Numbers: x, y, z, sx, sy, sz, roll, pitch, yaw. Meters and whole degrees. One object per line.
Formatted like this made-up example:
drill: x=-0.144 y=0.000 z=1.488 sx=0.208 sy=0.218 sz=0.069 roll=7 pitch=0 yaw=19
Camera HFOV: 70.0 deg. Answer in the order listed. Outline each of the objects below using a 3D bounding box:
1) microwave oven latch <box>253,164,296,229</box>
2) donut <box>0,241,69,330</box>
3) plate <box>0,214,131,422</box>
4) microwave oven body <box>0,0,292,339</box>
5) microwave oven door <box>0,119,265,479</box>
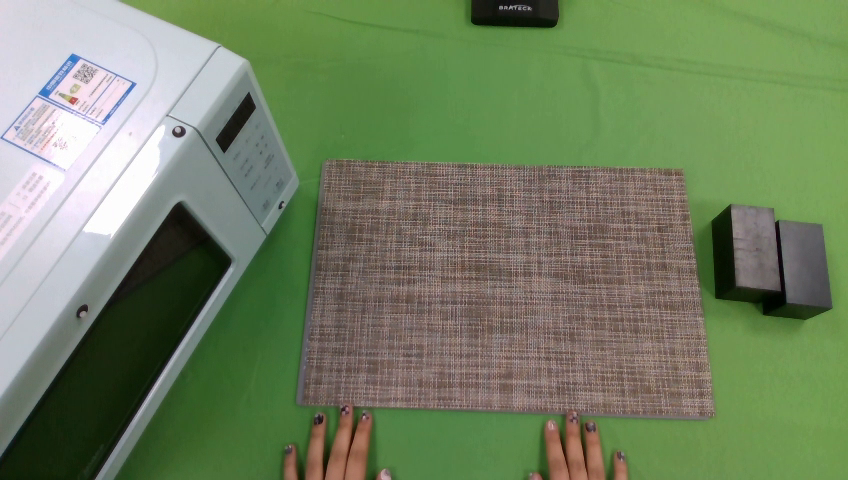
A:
microwave oven latch: x=-0.179 y=-0.055 z=0.708 sx=0.030 sy=0.029 sz=0.079 roll=25 pitch=72 yaw=7
donut: x=-0.412 y=0.045 z=0.613 sx=0.099 sy=0.048 sz=0.098 roll=2 pitch=54 yaw=-2
plate: x=-0.385 y=0.075 z=0.599 sx=0.209 sy=0.038 sz=0.207 roll=-2 pitch=68 yaw=6
microwave oven body: x=-0.391 y=-0.003 z=0.582 sx=0.325 sy=0.261 sz=0.440 roll=25 pitch=72 yaw=7
microwave oven door: x=-0.277 y=0.092 z=0.544 sx=0.039 sy=0.245 sz=0.354 roll=25 pitch=71 yaw=9
